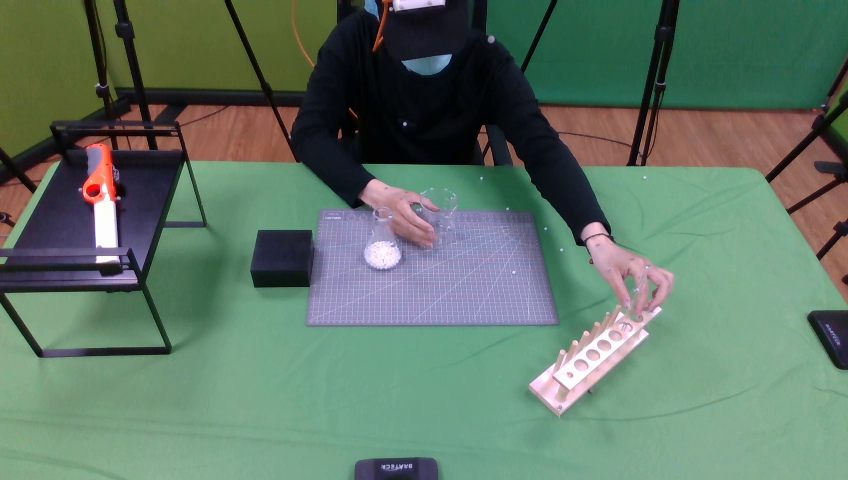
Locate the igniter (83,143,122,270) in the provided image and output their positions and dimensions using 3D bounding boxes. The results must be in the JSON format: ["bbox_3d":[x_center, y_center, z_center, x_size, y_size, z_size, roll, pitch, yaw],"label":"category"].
[{"bbox_3d":[-0.508,-0.063,0.962,0.057,0.025,0.274,-14,53,-18],"label":"igniter"}]

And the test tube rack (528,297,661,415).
[{"bbox_3d":[0.285,0.178,1.004,0.242,0.085,0.066,-31,56,-29],"label":"test tube rack"}]

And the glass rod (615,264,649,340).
[{"bbox_3d":[0.330,0.114,0.976,0.008,0.200,0.008,3,40,-2],"label":"glass rod"}]

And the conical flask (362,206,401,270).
[{"bbox_3d":[-0.078,-0.008,1.127,0.075,0.122,0.075,2,46,-2],"label":"conical flask"}]

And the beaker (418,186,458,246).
[{"bbox_3d":[0.026,-0.042,1.183,0.074,0.101,0.083,-19,51,-20],"label":"beaker"}]
